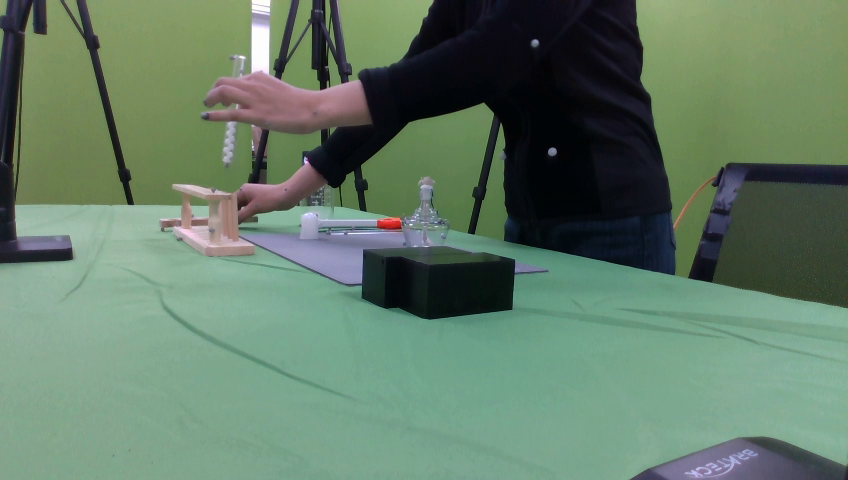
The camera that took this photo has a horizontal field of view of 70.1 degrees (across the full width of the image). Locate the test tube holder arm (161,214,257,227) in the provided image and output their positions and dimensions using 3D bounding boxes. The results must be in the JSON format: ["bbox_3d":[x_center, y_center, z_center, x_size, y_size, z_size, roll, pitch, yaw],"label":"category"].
[{"bbox_3d":[-0.389,-0.037,1.110,0.179,0.015,0.013,-8,24,-44],"label":"test tube holder arm"}]

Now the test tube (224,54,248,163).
[{"bbox_3d":[-0.263,-0.182,0.844,0.017,0.150,0.017,12,14,-3],"label":"test tube"}]

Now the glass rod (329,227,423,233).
[{"bbox_3d":[-0.087,-0.019,1.148,0.201,0.008,0.008,-2,8,-32],"label":"glass rod"}]

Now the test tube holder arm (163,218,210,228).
[{"bbox_3d":[-0.418,-0.031,1.075,0.088,0.015,0.010,-7,24,-43],"label":"test tube holder arm"}]

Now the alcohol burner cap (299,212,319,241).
[{"bbox_3d":[-0.195,-0.024,1.025,0.034,0.048,0.034,3,7,0],"label":"alcohol burner cap"}]

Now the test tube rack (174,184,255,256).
[{"bbox_3d":[-0.327,-0.036,0.928,0.067,0.085,0.241,-2,9,-32],"label":"test tube rack"}]

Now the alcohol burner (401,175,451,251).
[{"bbox_3d":[0.004,-0.042,0.947,0.078,0.119,0.078,1,9,0],"label":"alcohol burner"}]

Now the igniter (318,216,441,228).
[{"bbox_3d":[-0.090,-0.035,1.222,0.278,0.025,0.057,-2,-2,-32],"label":"igniter"}]

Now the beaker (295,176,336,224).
[{"bbox_3d":[-0.224,-0.080,1.247,0.084,0.100,0.073,-1,8,-18],"label":"beaker"}]
